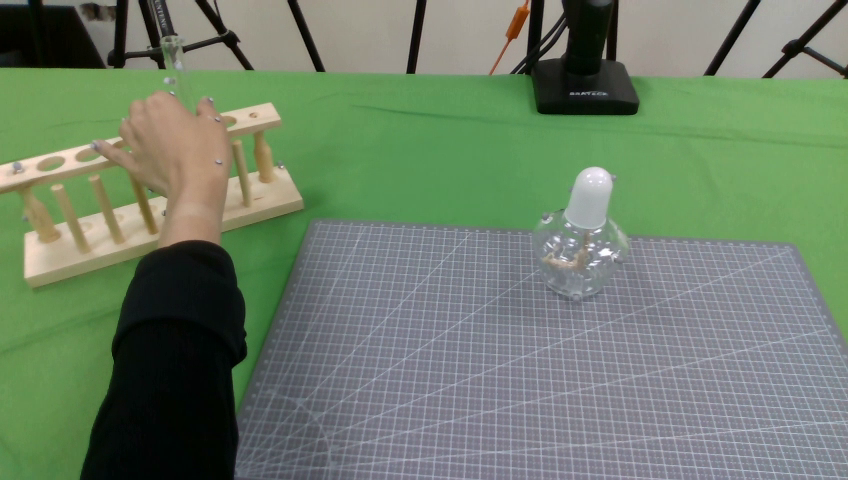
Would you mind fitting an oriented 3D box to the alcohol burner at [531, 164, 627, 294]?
[{"bbox_3d":[0.127,-0.013,0.487,0.078,0.120,0.077,1,44,0],"label":"alcohol burner"}]

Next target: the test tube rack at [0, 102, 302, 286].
[{"bbox_3d":[-0.243,-0.047,0.552,0.243,0.086,0.066,-19,45,-19],"label":"test tube rack"}]

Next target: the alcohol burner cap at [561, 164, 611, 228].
[{"bbox_3d":[0.126,-0.036,0.466,0.034,0.048,0.033,2,42,-1],"label":"alcohol burner cap"}]

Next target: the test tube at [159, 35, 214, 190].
[{"bbox_3d":[-0.212,-0.109,0.546,0.017,0.151,0.017,1,39,0],"label":"test tube"}]
